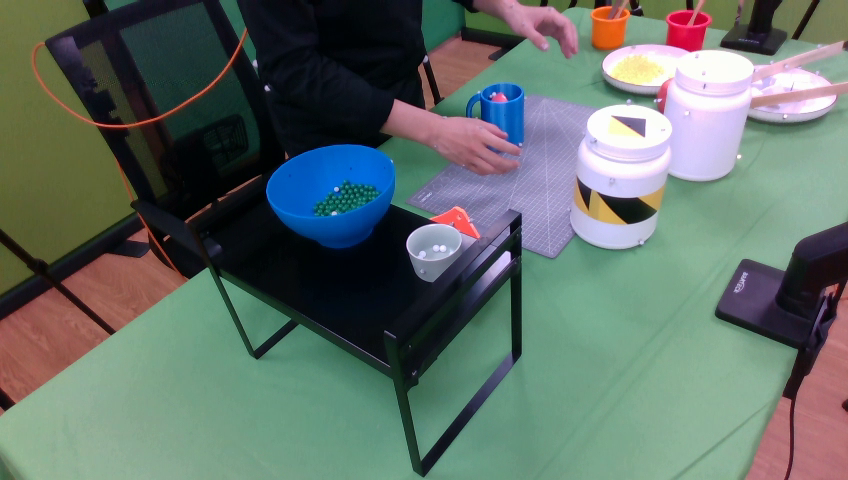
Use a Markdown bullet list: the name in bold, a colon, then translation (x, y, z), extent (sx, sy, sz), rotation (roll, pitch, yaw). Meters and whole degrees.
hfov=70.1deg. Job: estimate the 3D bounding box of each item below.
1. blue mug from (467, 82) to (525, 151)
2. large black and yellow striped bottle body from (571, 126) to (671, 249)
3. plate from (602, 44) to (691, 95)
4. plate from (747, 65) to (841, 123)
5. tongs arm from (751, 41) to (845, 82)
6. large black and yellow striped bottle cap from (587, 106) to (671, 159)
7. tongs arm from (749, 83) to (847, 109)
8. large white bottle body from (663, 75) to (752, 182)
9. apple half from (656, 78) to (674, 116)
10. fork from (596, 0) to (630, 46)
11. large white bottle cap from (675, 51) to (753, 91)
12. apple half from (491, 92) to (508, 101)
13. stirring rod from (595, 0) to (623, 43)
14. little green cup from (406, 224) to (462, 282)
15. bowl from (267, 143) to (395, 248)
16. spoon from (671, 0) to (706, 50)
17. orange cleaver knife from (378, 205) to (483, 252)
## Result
- **blue mug**: translation (0.138, -0.240, 1.169), extent (0.116, 0.106, 0.082), rotation (10, 44, 21)
- **large black and yellow striped bottle body**: translation (0.296, -0.093, 0.915), extent (0.131, 0.185, 0.130), rotation (-3, 42, 3)
- **plate**: translation (0.495, -0.367, 1.317), extent (0.209, 0.038, 0.208), rotation (-4, 40, 4)
- **plate**: translation (0.694, -0.283, 1.189), extent (0.207, 0.039, 0.206), rotation (-4, 40, 4)
- **tongs arm**: translation (0.708, -0.331, 1.193), extent (0.386, 0.026, 0.050), rotation (-19, 45, -16)
- **large black and yellow striped bottle cap**: translation (0.290, -0.154, 0.858), extent (0.115, 0.019, 0.114), rotation (-4, 42, 4)
- **tongs arm**: translation (0.735, -0.280, 1.133), extent (0.388, 0.028, 0.028), rotation (-9, 47, -5)
- **large white bottle body**: translation (0.472, -0.207, 1.022), extent (0.130, 0.185, 0.130), rotation (-4, 41, 4)
- **apple half**: translation (0.488, -0.281, 1.192), extent (0.053, 0.075, 0.081), rotation (24, 53, 37)
- **fork**: translation (0.481, -0.556, 1.452), extent (0.028, 0.019, 0.207), rotation (40, 103, 40)
- **large white bottle cap**: translation (0.463, -0.271, 0.967), extent (0.115, 0.018, 0.114), rotation (-3, 40, 3)
- **apple half**: translation (0.142, -0.239, 1.158), extent (0.033, 0.081, 0.080), rotation (-14, 40, -16)
- **stirring rod**: translation (0.460, -0.556, 1.459), extent (0.014, 0.006, 0.176), rotation (30, 93, 23)
- **little green cup**: translation (0.012, 0.015, 0.668), extent (0.061, 0.039, 0.061), rotation (-4, 40, 4)
- **bowl**: translation (-0.104, -0.043, 0.725), extent (0.151, 0.077, 0.150), rotation (-4, 40, 4)
- **spoon**: translation (0.629, -0.520, 1.394), extent (0.041, 0.022, 0.193), rotation (30, 96, 34)
- **orange cleaver knife**: translation (0.005, -0.010, 0.943), extent (0.210, 0.077, 0.012), rotation (-5, 23, 47)
